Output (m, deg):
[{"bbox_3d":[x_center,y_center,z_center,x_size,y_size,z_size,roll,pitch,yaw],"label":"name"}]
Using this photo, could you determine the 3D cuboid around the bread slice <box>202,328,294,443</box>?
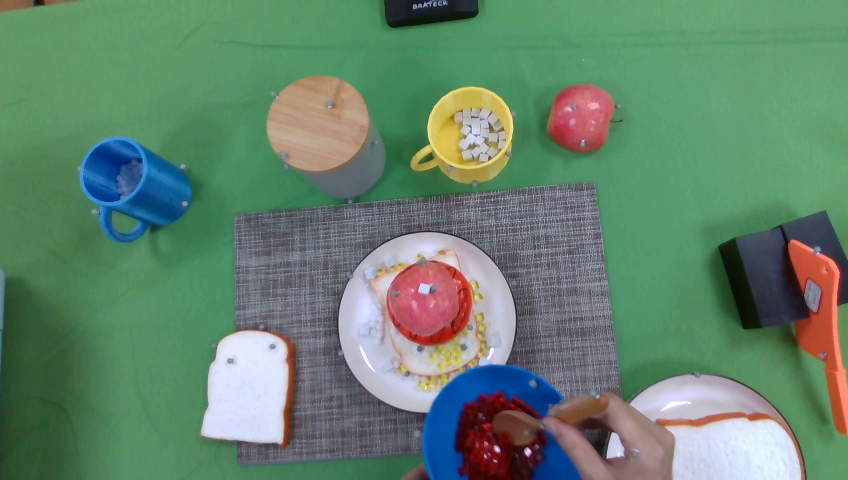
[{"bbox_3d":[-0.208,0.171,0.720,0.105,0.019,0.131,2,82,5],"label":"bread slice"}]

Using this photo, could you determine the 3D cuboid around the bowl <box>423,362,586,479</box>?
[{"bbox_3d":[0.069,0.201,0.577,0.151,0.077,0.150,4,58,-6],"label":"bowl"}]

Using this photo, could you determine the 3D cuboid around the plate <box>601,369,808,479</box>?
[{"bbox_3d":[0.295,0.244,0.652,0.209,0.038,0.208,-1,80,6],"label":"plate"}]

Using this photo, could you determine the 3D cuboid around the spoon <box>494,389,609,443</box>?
[{"bbox_3d":[0.105,0.151,0.513,0.041,0.194,0.021,40,65,4],"label":"spoon"}]

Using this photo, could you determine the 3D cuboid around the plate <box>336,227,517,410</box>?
[{"bbox_3d":[0.003,0.089,0.702,0.207,0.039,0.207,-1,81,6],"label":"plate"}]

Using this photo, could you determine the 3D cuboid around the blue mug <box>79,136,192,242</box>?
[{"bbox_3d":[-0.349,-0.053,0.729,0.082,0.106,0.116,15,82,8],"label":"blue mug"}]

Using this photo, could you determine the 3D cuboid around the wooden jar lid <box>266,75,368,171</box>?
[{"bbox_3d":[-0.112,-0.122,0.642,0.108,0.021,0.108,-1,78,3],"label":"wooden jar lid"}]

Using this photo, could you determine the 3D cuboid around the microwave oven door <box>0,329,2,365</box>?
[{"bbox_3d":[-0.538,0.264,0.606,0.039,0.245,0.354,-5,80,5],"label":"microwave oven door"}]

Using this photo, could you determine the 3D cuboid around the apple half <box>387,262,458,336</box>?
[{"bbox_3d":[-0.002,0.061,0.642,0.081,0.033,0.081,-3,78,12],"label":"apple half"}]

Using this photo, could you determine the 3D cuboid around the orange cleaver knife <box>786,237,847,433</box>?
[{"bbox_3d":[0.418,0.100,0.642,0.012,0.077,0.212,-16,101,-4],"label":"orange cleaver knife"}]

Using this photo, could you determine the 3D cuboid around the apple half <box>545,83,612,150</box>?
[{"bbox_3d":[0.185,-0.153,0.722,0.074,0.053,0.080,17,83,11],"label":"apple half"}]

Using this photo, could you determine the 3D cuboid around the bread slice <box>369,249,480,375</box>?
[{"bbox_3d":[0.008,0.087,0.704,0.107,0.018,0.133,-22,79,2],"label":"bread slice"}]

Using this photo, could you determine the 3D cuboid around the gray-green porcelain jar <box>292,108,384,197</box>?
[{"bbox_3d":[-0.105,-0.111,0.705,0.106,0.127,0.105,-1,80,5],"label":"gray-green porcelain jar"}]

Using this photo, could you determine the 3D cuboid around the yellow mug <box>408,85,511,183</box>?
[{"bbox_3d":[0.040,-0.118,0.723,0.131,0.064,0.099,-27,79,1],"label":"yellow mug"}]

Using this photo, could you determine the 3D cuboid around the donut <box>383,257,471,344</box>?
[{"bbox_3d":[0.004,0.068,0.678,0.099,0.048,0.098,-1,81,6],"label":"donut"}]
